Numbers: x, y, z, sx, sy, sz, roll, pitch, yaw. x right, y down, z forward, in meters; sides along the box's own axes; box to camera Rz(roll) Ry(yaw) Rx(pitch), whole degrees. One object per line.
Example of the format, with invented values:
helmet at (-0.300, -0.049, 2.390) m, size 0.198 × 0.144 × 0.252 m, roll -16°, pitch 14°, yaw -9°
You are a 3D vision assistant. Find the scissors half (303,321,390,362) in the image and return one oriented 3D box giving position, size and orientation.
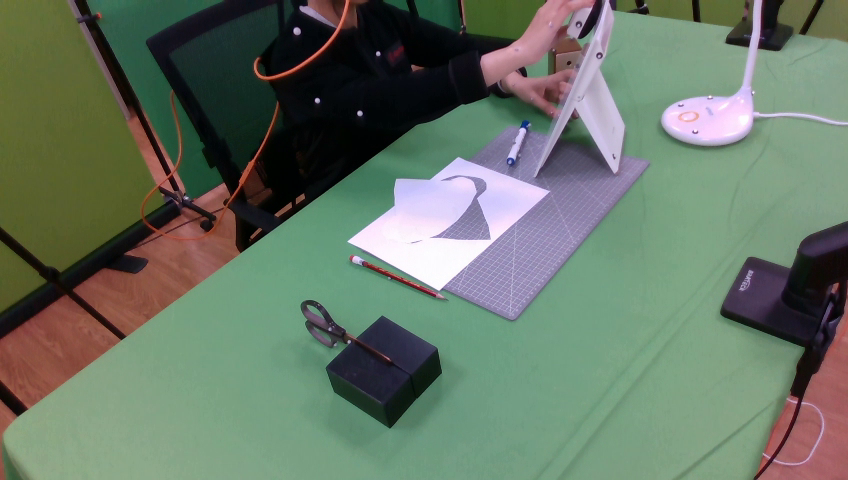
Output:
scissors half at (-0.105, 0.138, 0.803) m, size 0.174 × 0.040 × 0.013 m, roll 8°, pitch 27°, yaw 43°

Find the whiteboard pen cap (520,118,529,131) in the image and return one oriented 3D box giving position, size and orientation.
whiteboard pen cap at (0.199, -0.227, 1.204) m, size 0.018 × 0.018 × 0.033 m, roll 6°, pitch 44°, yaw 17°

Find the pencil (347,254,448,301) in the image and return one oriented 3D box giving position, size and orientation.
pencil at (-0.044, 0.058, 0.933) m, size 0.192 × 0.012 × 0.012 m, roll 22°, pitch 49°, yaw 28°

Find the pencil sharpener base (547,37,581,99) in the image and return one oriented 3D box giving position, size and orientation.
pencil sharpener base at (0.300, -0.368, 1.290) m, size 0.061 × 0.107 × 0.076 m, roll -8°, pitch 40°, yaw 2°

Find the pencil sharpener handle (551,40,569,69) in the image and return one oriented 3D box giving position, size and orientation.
pencil sharpener handle at (0.291, -0.409, 1.321) m, size 0.036 × 0.068 × 0.030 m, roll 2°, pitch 40°, yaw -6°

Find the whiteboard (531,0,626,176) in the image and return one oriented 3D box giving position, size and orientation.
whiteboard at (0.321, -0.258, 1.050) m, size 0.144 × 0.306 × 0.217 m, roll 22°, pitch 45°, yaw 5°

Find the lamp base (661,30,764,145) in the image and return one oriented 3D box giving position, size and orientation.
lamp base at (0.535, -0.287, 1.096) m, size 0.179 × 0.181 × 0.159 m, roll -10°, pitch 40°, yaw -4°

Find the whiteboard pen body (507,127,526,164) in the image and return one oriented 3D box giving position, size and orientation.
whiteboard pen body at (0.181, -0.189, 1.163) m, size 0.017 × 0.017 × 0.140 m, roll 7°, pitch 42°, yaw 18°

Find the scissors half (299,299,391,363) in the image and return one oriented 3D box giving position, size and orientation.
scissors half at (-0.107, 0.120, 0.794) m, size 0.174 × 0.040 × 0.013 m, roll 26°, pitch 44°, yaw 32°

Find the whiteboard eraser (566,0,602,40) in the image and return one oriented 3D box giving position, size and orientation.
whiteboard eraser at (0.271, -0.382, 1.015) m, size 0.042 × 0.055 × 0.112 m, roll 22°, pitch 46°, yaw 3°
